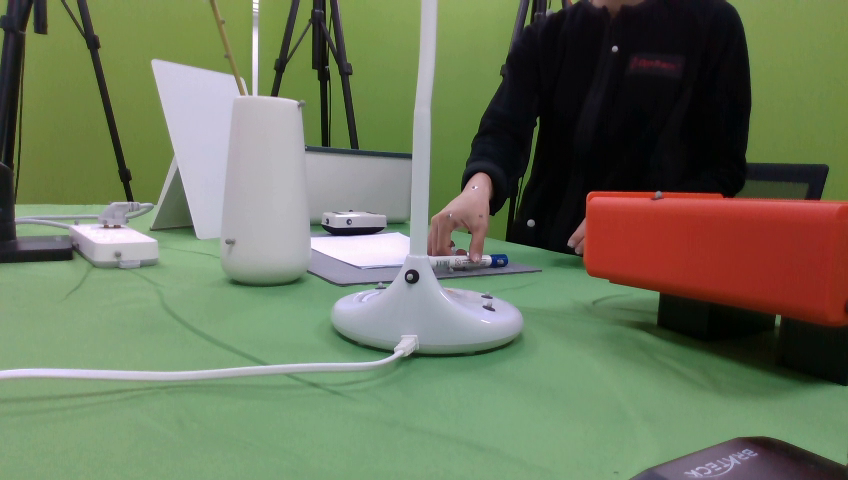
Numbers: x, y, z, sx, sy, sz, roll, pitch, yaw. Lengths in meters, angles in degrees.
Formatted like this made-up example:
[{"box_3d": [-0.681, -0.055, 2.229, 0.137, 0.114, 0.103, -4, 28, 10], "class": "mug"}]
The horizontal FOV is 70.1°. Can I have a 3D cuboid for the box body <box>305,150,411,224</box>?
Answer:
[{"box_3d": [-0.230, -0.126, 1.372, 0.366, 0.160, 0.253, -2, 9, -33], "class": "box body"}]

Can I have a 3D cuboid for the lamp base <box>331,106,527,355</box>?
[{"box_3d": [0.006, -0.012, 0.478, 0.161, 0.180, 0.179, 2, 10, 2], "class": "lamp base"}]

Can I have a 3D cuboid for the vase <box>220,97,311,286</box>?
[{"box_3d": [-0.172, -0.052, 0.662, 0.098, 0.200, 0.098, 3, 8, 0], "class": "vase"}]

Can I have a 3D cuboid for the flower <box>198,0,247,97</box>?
[{"box_3d": [-0.187, -0.133, 0.648, 0.038, 0.362, 0.044, -1, 21, 43], "class": "flower"}]

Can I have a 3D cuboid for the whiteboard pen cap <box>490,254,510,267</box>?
[{"box_3d": [0.098, 0.028, 0.815, 0.033, 0.018, 0.018, -3, 9, -37], "class": "whiteboard pen cap"}]

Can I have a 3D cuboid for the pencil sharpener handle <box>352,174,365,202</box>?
[{"box_3d": [-0.156, -0.125, 1.450, 0.031, 0.068, 0.036, 2, 19, -11], "class": "pencil sharpener handle"}]

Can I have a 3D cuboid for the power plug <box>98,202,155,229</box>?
[{"box_3d": [-0.416, -0.027, 0.848, 0.073, 0.052, 0.035, 0, 8, -28], "class": "power plug"}]

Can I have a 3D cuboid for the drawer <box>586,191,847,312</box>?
[{"box_3d": [0.281, 0.001, 0.513, 0.195, 0.073, 0.210, -1, 8, -29], "class": "drawer"}]

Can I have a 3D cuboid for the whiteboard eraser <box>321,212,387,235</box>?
[{"box_3d": [-0.128, -0.031, 1.108, 0.113, 0.042, 0.055, -3, 7, -38], "class": "whiteboard eraser"}]

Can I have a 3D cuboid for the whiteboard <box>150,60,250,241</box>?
[{"box_3d": [-0.408, -0.139, 1.093, 0.143, 0.305, 0.218, -15, -1, 26], "class": "whiteboard"}]

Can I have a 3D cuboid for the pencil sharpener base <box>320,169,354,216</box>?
[{"box_3d": [-0.207, -0.113, 1.438, 0.077, 0.107, 0.061, 2, 6, -11], "class": "pencil sharpener base"}]

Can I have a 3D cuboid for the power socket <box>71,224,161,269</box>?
[{"box_3d": [-0.408, 0.004, 0.793, 0.072, 0.032, 0.225, -2, 8, -38], "class": "power socket"}]

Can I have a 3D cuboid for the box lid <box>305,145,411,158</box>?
[{"box_3d": [-0.228, -0.200, 1.361, 0.373, 0.015, 0.262, -1, 8, -33], "class": "box lid"}]

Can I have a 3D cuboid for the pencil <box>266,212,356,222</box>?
[{"box_3d": [-0.244, -0.049, 1.318, 0.195, 0.012, 0.012, 4, 7, -12], "class": "pencil"}]

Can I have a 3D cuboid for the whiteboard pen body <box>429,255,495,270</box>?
[{"box_3d": [0.053, 0.028, 0.777, 0.141, 0.017, 0.017, -1, 8, -39], "class": "whiteboard pen body"}]

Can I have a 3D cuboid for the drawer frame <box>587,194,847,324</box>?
[{"box_3d": [0.285, 0.004, 0.508, 0.203, 0.082, 0.212, -1, 6, -29], "class": "drawer frame"}]
